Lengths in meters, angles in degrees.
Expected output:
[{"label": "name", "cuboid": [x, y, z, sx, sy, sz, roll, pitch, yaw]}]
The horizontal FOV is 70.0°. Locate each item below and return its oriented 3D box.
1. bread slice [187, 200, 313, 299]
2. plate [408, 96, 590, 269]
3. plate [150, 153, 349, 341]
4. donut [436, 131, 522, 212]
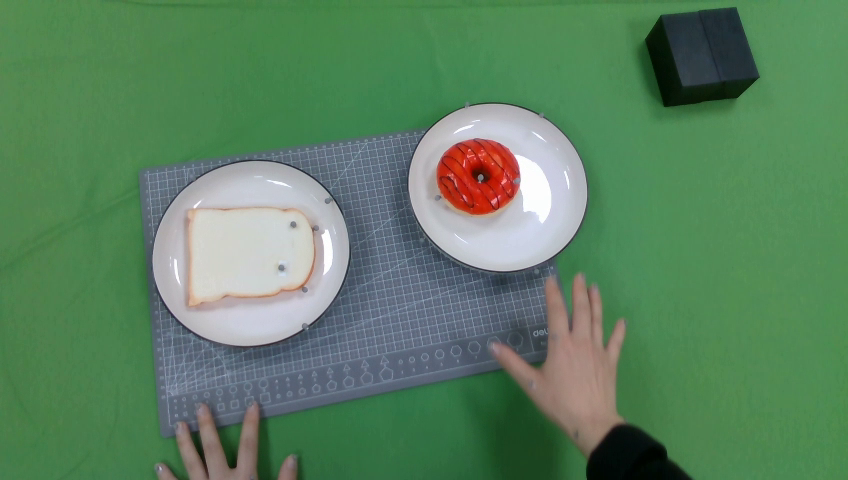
[{"label": "bread slice", "cuboid": [-0.189, 0.005, 0.661, 0.134, 0.018, 0.106, -7, 77, -7]}, {"label": "plate", "cuboid": [0.085, -0.065, 0.699, 0.208, 0.039, 0.206, 1, 75, -4]}, {"label": "plate", "cuboid": [-0.185, 0.008, 0.660, 0.209, 0.038, 0.208, 1, 75, -4]}, {"label": "donut", "cuboid": [0.062, -0.079, 0.689, 0.099, 0.048, 0.098, 1, 71, -1]}]
